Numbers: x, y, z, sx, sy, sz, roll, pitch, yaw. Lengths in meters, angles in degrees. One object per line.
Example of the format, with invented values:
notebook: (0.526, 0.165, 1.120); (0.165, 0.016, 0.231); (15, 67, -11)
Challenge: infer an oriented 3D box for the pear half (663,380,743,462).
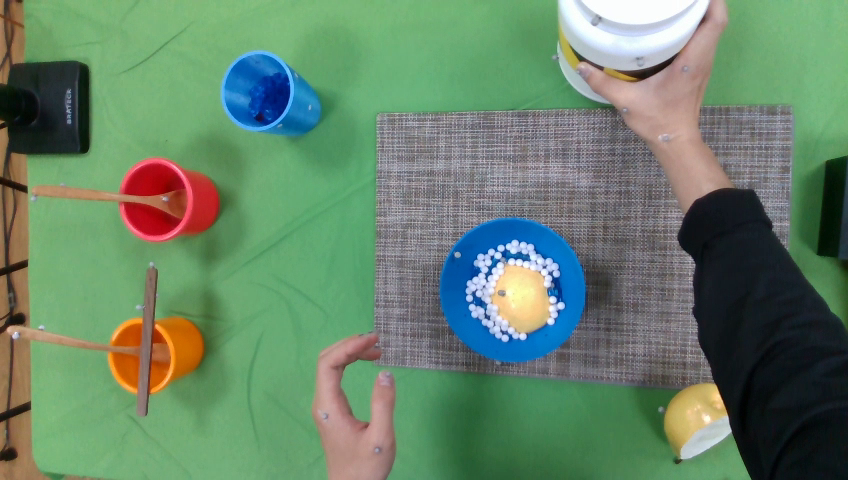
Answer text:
pear half: (0.282, 0.193, 0.641); (0.076, 0.055, 0.110); (0, 127, -20)

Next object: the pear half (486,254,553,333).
pear half: (0.099, 0.057, 0.648); (0.070, 0.031, 0.087); (-25, 83, 10)

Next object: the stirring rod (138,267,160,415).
stirring rod: (-0.322, 0.119, 0.707); (0.014, 0.006, 0.176); (6, 94, 8)

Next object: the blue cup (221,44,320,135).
blue cup: (-0.166, -0.159, 0.692); (0.092, 0.100, 0.092); (0, 92, 13)

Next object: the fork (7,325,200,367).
fork: (-0.373, 0.125, 0.719); (0.209, 0.018, 0.028); (17, 106, -33)

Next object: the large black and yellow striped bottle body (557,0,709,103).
large black and yellow striped bottle body: (0.191, -0.218, 0.570); (0.130, 0.185, 0.130); (-1, 85, 12)

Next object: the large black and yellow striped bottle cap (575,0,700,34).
large black and yellow striped bottle cap: (0.174, -0.225, 0.488); (0.115, 0.019, 0.115); (-1, 86, 13)

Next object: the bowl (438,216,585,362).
bowl: (0.096, 0.050, 0.654); (0.151, 0.077, 0.151); (0, 92, 12)

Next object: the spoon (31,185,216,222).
spoon: (-0.347, -0.049, 0.712); (0.195, 0.021, 0.041); (5, 96, -32)
